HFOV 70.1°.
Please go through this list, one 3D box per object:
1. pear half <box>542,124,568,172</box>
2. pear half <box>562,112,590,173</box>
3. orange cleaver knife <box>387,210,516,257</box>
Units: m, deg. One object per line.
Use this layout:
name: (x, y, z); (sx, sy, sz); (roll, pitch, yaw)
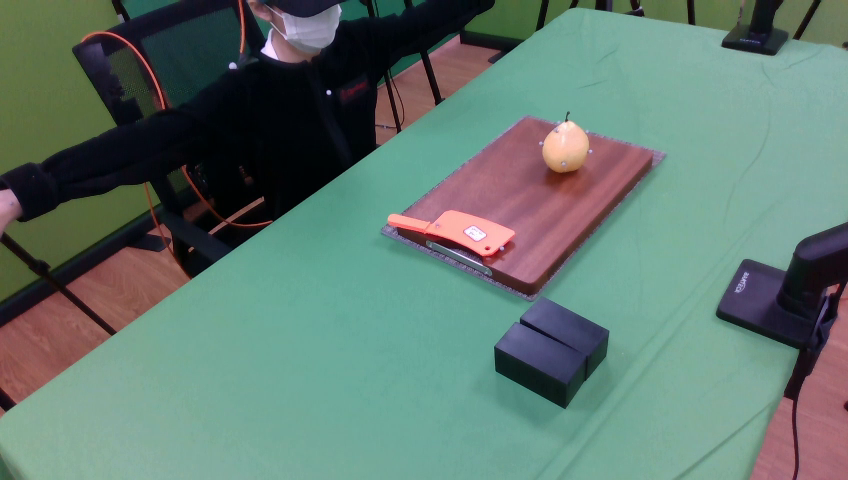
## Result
pear half: (0.220, -0.155, 1.028); (0.031, 0.088, 0.070); (-18, 46, -12)
pear half: (0.253, -0.172, 1.027); (0.056, 0.110, 0.075); (-18, 46, -10)
orange cleaver knife: (0.041, -0.020, 0.953); (0.210, 0.012, 0.077); (16, 48, 29)
